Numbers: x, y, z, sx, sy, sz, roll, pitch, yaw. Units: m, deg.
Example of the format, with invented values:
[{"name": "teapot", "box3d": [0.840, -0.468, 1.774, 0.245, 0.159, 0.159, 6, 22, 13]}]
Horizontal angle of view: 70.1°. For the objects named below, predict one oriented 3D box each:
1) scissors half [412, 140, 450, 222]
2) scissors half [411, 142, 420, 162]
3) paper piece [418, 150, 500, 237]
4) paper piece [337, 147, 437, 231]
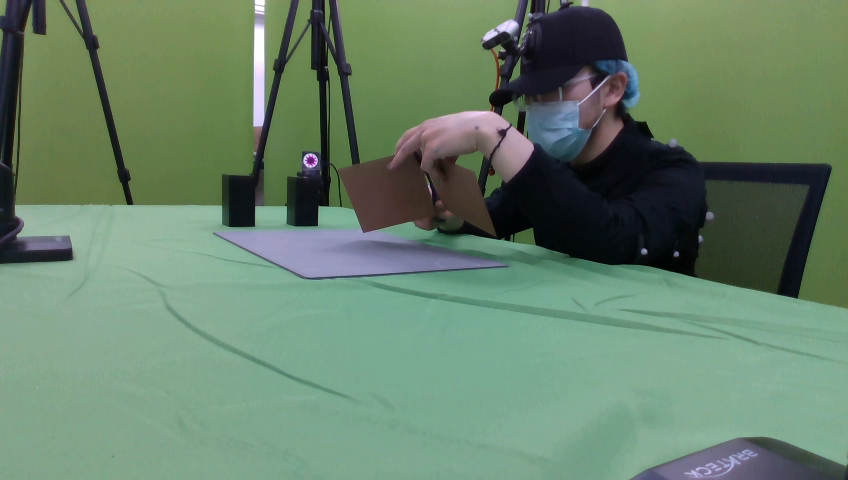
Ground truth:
[{"name": "scissors half", "box3d": [0.011, -0.096, 1.014, 0.012, 0.176, 0.040, 18, 54, 40]}, {"name": "scissors half", "box3d": [0.022, -0.112, 1.022, 0.013, 0.040, 0.176, 13, -20, 38]}, {"name": "paper piece", "box3d": [0.055, -0.074, 0.954, 0.137, 0.136, 0.008, 21, 55, 40]}, {"name": "paper piece", "box3d": [-0.059, -0.083, 1.010, 0.135, 0.135, 0.004, -13, 34, 7]}]
